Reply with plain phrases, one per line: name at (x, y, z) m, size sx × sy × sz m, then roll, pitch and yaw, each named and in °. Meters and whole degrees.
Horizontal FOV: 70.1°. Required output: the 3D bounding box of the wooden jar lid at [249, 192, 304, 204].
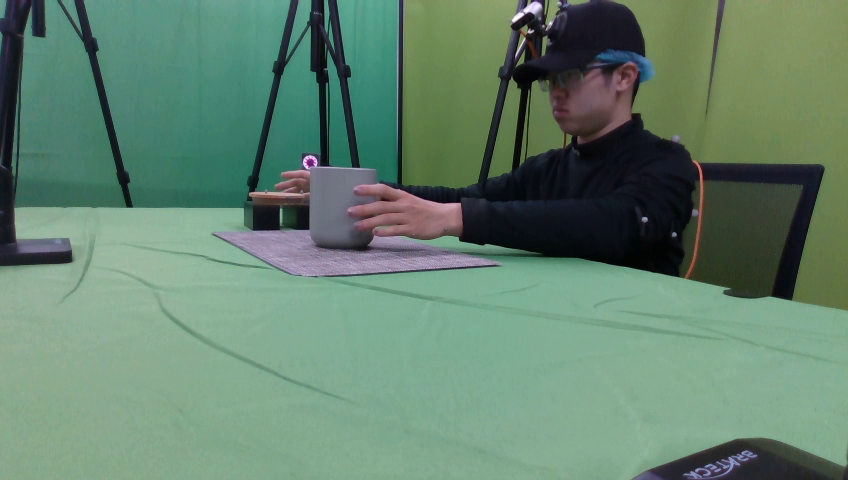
wooden jar lid at (-0.297, -0.086, 1.220) m, size 0.108 × 0.020 × 0.108 m, roll 4°, pitch 7°, yaw 0°

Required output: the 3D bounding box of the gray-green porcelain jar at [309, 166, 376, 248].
gray-green porcelain jar at (-0.131, -0.054, 0.966) m, size 0.106 × 0.126 × 0.106 m, roll 2°, pitch 7°, yaw 0°
